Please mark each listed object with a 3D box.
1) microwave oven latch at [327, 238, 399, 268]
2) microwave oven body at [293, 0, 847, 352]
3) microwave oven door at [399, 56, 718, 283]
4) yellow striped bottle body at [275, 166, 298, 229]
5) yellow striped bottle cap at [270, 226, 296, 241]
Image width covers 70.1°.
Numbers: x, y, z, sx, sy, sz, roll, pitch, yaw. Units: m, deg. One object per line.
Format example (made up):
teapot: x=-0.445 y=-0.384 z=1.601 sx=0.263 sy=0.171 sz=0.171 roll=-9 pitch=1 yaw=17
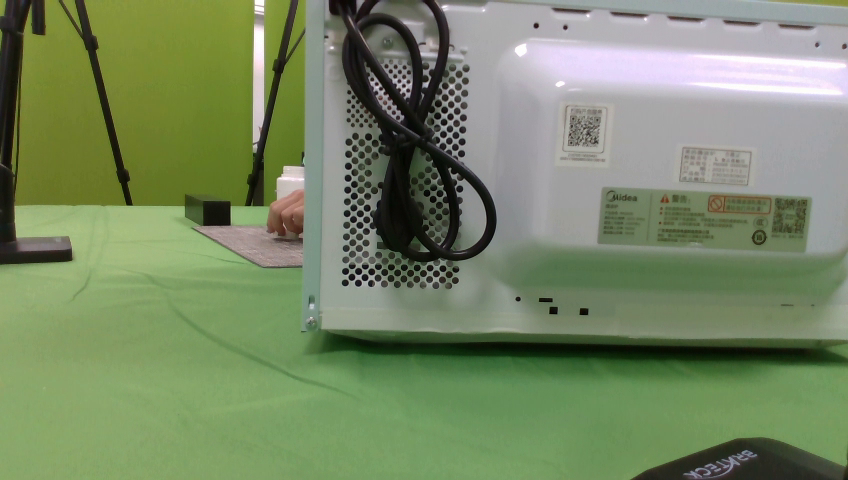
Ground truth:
microwave oven latch: x=-0.069 y=0.015 z=0.694 sx=0.079 sy=0.029 sz=0.030 roll=3 pitch=7 yaw=-3
microwave oven body: x=0.122 y=-0.055 z=0.550 sx=0.442 sy=0.260 sz=0.325 roll=3 pitch=7 yaw=-5
microwave oven door: x=0.154 y=-0.078 z=0.698 sx=0.356 sy=0.243 sz=0.039 roll=2 pitch=8 yaw=-5
yellow striped bottle body: x=-0.244 y=-0.077 z=1.127 sx=0.063 sy=0.120 sz=0.063 roll=3 pitch=8 yaw=0
yellow striped bottle cap: x=-0.233 y=-0.011 z=1.010 sx=0.044 sy=0.018 sz=0.044 roll=12 pitch=5 yaw=-1
